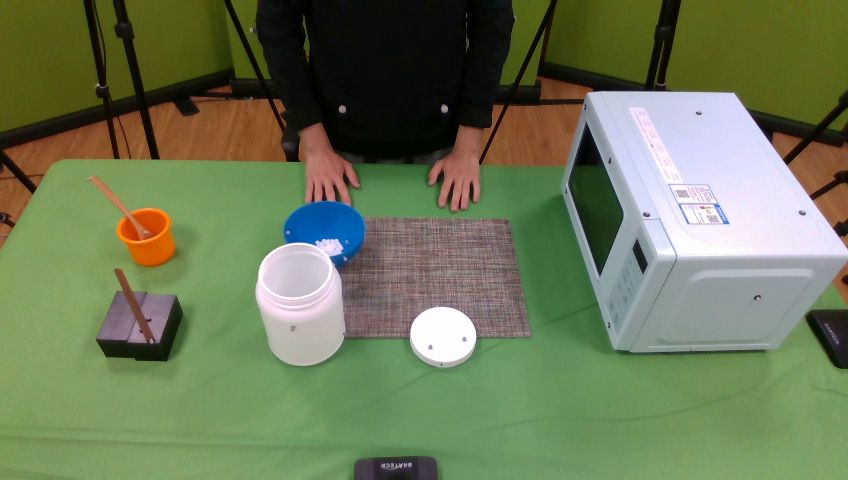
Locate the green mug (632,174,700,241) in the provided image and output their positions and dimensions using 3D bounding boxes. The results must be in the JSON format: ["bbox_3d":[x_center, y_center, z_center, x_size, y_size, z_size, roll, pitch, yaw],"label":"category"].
[{"bbox_3d":[0.456,-0.056,1.154,0.125,0.105,0.092,-15,45,-10],"label":"green mug"}]

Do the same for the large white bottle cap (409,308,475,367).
[{"bbox_3d":[0.031,0.165,1.041,0.115,0.018,0.114,2,46,-2],"label":"large white bottle cap"}]

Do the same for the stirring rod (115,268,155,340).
[{"bbox_3d":[-0.479,0.103,0.999,0.014,0.006,0.175,7,32,-49],"label":"stirring rod"}]

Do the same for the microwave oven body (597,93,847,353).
[{"bbox_3d":[0.475,-0.041,1.110,0.326,0.261,0.438,-1,45,-4],"label":"microwave oven body"}]

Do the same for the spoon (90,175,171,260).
[{"bbox_3d":[-0.539,-0.042,1.111,0.021,0.194,0.041,-14,26,52],"label":"spoon"}]

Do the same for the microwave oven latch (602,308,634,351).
[{"bbox_3d":[0.332,0.153,1.044,0.030,0.029,0.078,-1,45,-4],"label":"microwave oven latch"}]

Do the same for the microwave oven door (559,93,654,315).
[{"bbox_3d":[0.327,-0.074,1.123,0.039,0.245,0.353,-1,46,-5],"label":"microwave oven door"}]

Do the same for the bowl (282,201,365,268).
[{"bbox_3d":[-0.187,0.005,1.137,0.151,0.077,0.150,3,46,-3],"label":"bowl"}]

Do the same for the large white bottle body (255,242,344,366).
[{"bbox_3d":[-0.196,0.102,0.967,0.131,0.185,0.130,2,49,-2],"label":"large white bottle body"}]
